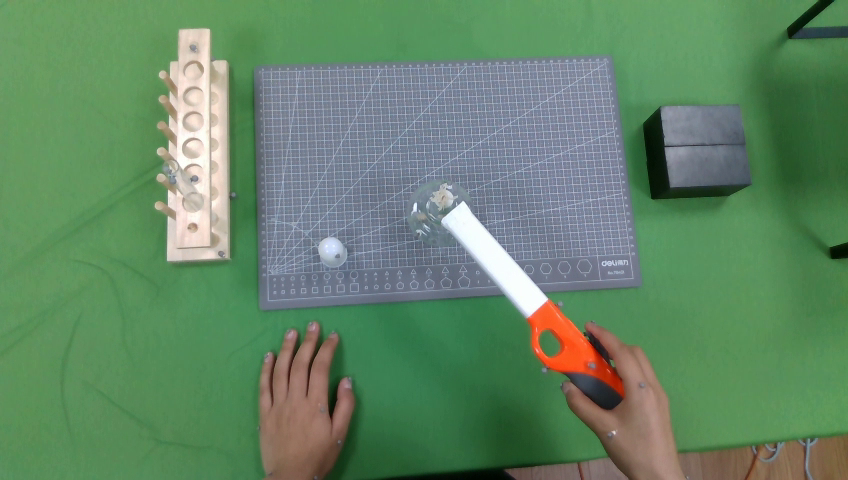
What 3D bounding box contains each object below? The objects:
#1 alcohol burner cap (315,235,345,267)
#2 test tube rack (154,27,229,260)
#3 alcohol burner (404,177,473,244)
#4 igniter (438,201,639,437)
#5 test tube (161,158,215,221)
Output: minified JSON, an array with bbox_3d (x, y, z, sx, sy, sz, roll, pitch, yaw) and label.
[{"bbox_3d":[-0.107,0.010,0.686,0.034,0.048,0.033,1,78,-4],"label":"alcohol burner cap"},{"bbox_3d":[-0.262,-0.105,0.676,0.067,0.085,0.241,-3,80,-4],"label":"test tube rack"},{"bbox_3d":[0.017,-0.036,0.668,0.078,0.119,0.077,1,80,-3],"label":"alcohol burner"},{"bbox_3d":[0.114,0.076,0.590,0.057,0.025,0.276,-40,87,-8],"label":"igniter"},{"bbox_3d":[-0.237,-0.048,0.617,0.017,0.151,0.017,2,74,-5],"label":"test tube"}]
